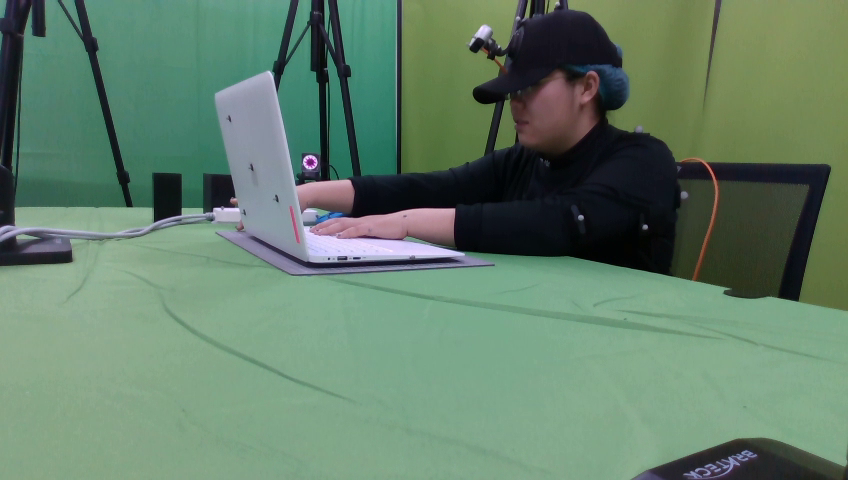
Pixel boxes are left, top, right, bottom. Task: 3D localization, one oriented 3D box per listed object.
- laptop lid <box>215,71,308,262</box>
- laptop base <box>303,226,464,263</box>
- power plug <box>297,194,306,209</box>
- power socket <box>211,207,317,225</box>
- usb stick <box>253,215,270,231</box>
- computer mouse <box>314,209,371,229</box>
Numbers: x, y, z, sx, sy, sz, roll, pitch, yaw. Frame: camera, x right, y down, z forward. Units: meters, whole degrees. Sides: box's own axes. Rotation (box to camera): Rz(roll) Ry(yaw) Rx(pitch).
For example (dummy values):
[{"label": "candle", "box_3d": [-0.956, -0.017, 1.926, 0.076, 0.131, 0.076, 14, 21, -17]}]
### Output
[{"label": "laptop lid", "box_3d": [-0.245, -0.106, 0.870, 0.013, 0.241, 0.355, -15, 16, -27]}, {"label": "laptop base", "box_3d": [-0.125, 0.007, 0.956, 0.237, 0.023, 0.352, 4, 5, -30]}, {"label": "power plug", "box_3d": [-0.282, -0.076, 1.341, 0.035, 0.052, 0.072, 3, 6, -18]}, {"label": "power socket", "box_3d": [-0.334, -0.051, 1.282, 0.228, 0.032, 0.072, -1, 9, -28]}, {"label": "usb stick", "box_3d": [-0.290, -0.029, 1.084, 0.021, 0.027, 0.059, -2, 11, -29]}, {"label": "computer mouse", "box_3d": [-0.173, -0.045, 1.286, 0.118, 0.041, 0.062, -4, 11, -30]}]
